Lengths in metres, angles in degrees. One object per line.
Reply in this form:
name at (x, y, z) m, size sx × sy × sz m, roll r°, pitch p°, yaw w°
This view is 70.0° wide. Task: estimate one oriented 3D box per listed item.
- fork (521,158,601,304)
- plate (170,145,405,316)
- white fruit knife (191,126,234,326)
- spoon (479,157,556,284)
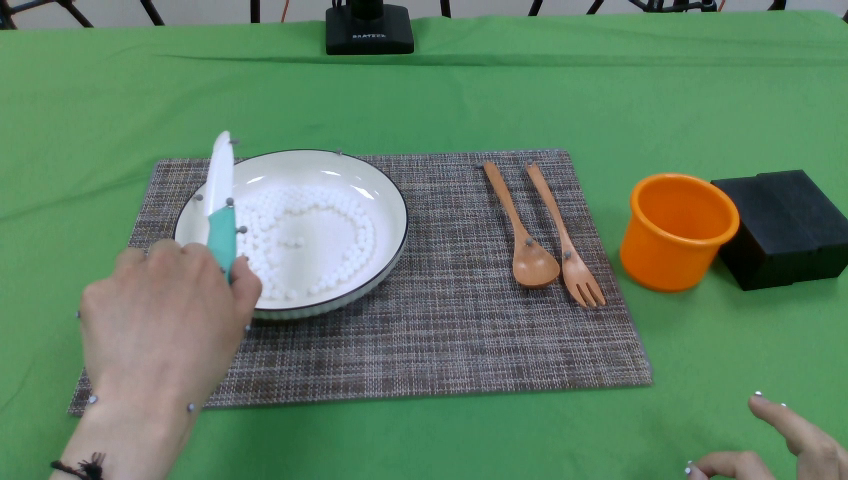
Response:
fork at (0.126, -0.017, 0.590) m, size 0.028 × 0.019 × 0.205 m, roll -10°, pitch 49°, yaw -3°
plate at (-0.121, -0.011, 0.560) m, size 0.209 × 0.038 × 0.207 m, roll 1°, pitch 46°, yaw -1°
white fruit knife at (-0.163, -0.023, 0.475) m, size 0.027 × 0.016 × 0.205 m, roll -9°, pitch 52°, yaw -6°
spoon at (0.084, -0.027, 0.595) m, size 0.041 × 0.022 × 0.191 m, roll -19°, pitch 48°, yaw 4°
